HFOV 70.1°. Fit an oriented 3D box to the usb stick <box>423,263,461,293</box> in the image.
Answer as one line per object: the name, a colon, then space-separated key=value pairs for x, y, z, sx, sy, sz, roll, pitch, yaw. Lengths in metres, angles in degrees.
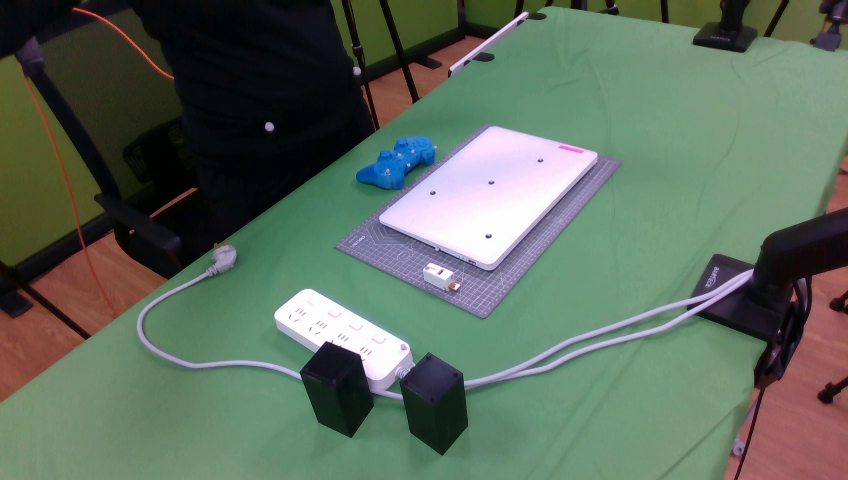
usb stick: x=0.028 y=0.058 z=0.889 sx=0.059 sy=0.027 sz=0.021 roll=24 pitch=46 yaw=28

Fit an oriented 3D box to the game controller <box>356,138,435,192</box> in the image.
game controller: x=-0.049 y=-0.149 z=1.136 sx=0.096 sy=0.052 sz=0.155 roll=27 pitch=51 yaw=28

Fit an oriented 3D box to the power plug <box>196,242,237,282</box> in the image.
power plug: x=-0.336 y=0.031 z=0.968 sx=0.073 sy=0.035 sz=0.052 roll=-17 pitch=56 yaw=-29

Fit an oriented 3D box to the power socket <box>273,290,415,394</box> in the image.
power socket: x=-0.114 y=0.133 z=0.820 sx=0.225 sy=0.033 sz=0.072 roll=24 pitch=48 yaw=32

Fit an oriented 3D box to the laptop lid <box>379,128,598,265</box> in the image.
laptop lid: x=0.117 y=-0.095 z=1.048 sx=0.239 sy=0.013 sz=0.358 roll=23 pitch=49 yaw=34

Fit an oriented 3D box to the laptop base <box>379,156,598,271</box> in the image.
laptop base: x=0.120 y=-0.085 z=1.054 sx=0.233 sy=0.023 sz=0.355 roll=21 pitch=48 yaw=34
